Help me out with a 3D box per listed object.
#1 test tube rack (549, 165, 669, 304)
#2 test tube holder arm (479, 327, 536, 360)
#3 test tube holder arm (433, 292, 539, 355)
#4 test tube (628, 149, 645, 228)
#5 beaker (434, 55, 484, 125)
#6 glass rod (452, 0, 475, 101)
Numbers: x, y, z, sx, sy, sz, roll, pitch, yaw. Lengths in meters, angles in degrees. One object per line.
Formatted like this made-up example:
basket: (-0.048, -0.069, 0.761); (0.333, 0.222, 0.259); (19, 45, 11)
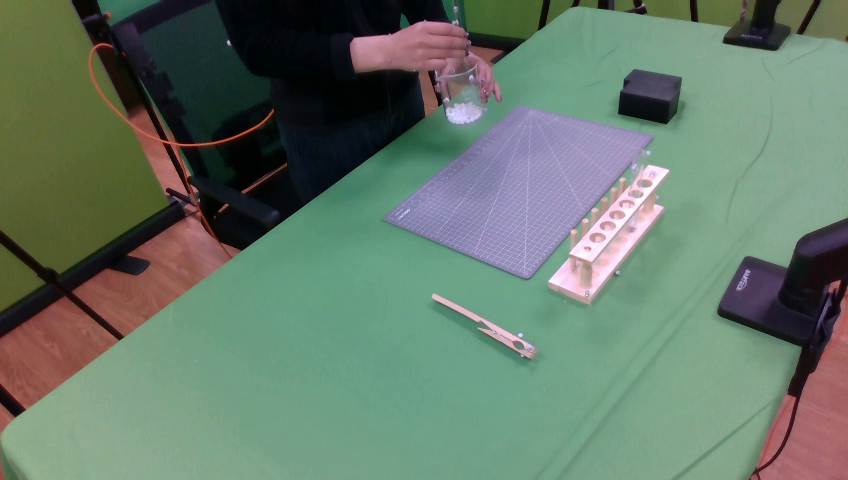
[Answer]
test tube rack: (0.279, -0.018, 0.902); (0.066, 0.085, 0.243); (24, 50, 33)
test tube holder arm: (0.110, 0.134, 0.805); (0.087, 0.015, 0.010); (29, 83, 36)
test tube holder arm: (0.081, 0.113, 0.832); (0.177, 0.015, 0.013); (28, 82, 36)
test tube: (0.309, -0.071, 0.882); (0.017, 0.151, 0.017); (-7, 47, 8)
beaker: (0.062, -0.260, 1.063); (0.084, 0.101, 0.073); (-30, 41, -18)
glass rod: (0.067, -0.324, 1.033); (0.008, 0.201, 0.008); (-9, 42, 9)
